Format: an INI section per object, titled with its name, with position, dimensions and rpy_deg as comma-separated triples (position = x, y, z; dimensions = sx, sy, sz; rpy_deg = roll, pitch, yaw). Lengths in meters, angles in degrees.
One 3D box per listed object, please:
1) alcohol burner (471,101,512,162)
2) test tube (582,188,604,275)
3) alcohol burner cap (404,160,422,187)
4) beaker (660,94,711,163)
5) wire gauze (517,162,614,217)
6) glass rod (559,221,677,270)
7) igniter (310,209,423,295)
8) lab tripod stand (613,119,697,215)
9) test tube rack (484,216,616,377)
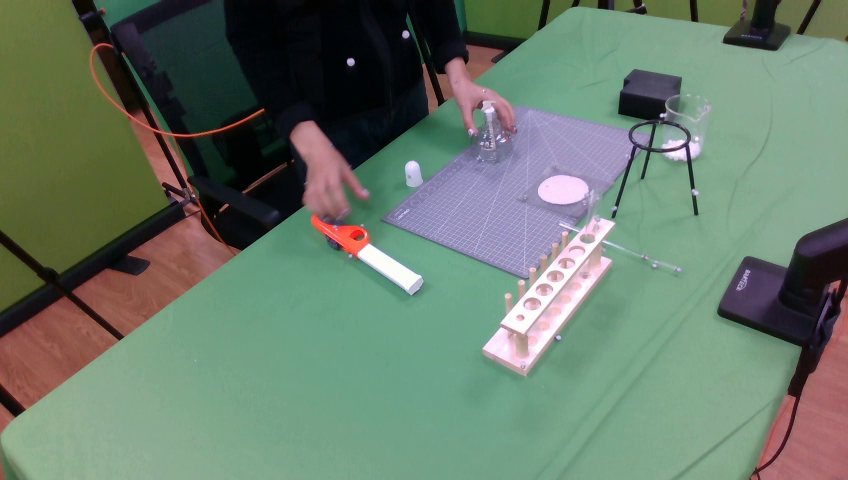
[alcohol burner]
position = 0.125, -0.207, 1.126
dimensions = 0.078, 0.119, 0.077
rpy_deg = -5, 43, 5
[test tube]
position = 0.229, -0.007, 0.821
dimensions = 0.017, 0.151, 0.017
rpy_deg = -3, 42, 3
[alcohol burner cap]
position = -0.022, -0.125, 1.118
dimensions = 0.034, 0.048, 0.033
rpy_deg = -5, 41, 5
[beaker]
position = 0.457, -0.192, 1.063
dimensions = 0.074, 0.101, 0.083
rpy_deg = -7, 41, 4
[wire gauze]
position = 0.245, -0.088, 1.046
dimensions = 0.120, 0.011, 0.125
rpy_deg = 25, 50, 32
[glass rod]
position = 0.292, 0.007, 0.927
dimensions = 0.198, 0.008, 0.008
rpy_deg = 26, 52, 36
[igniter]
position = -0.103, 0.012, 0.981
dimensions = 0.057, 0.025, 0.274
rpy_deg = -42, 49, -20
[lab tripod stand]
position = 0.369, -0.112, 0.958
dimensions = 0.148, 0.132, 0.147
rpy_deg = -4, 40, 4
[test tube rack]
position = 0.174, 0.064, 0.823
dimensions = 0.066, 0.085, 0.243
rpy_deg = 23, 49, 33
